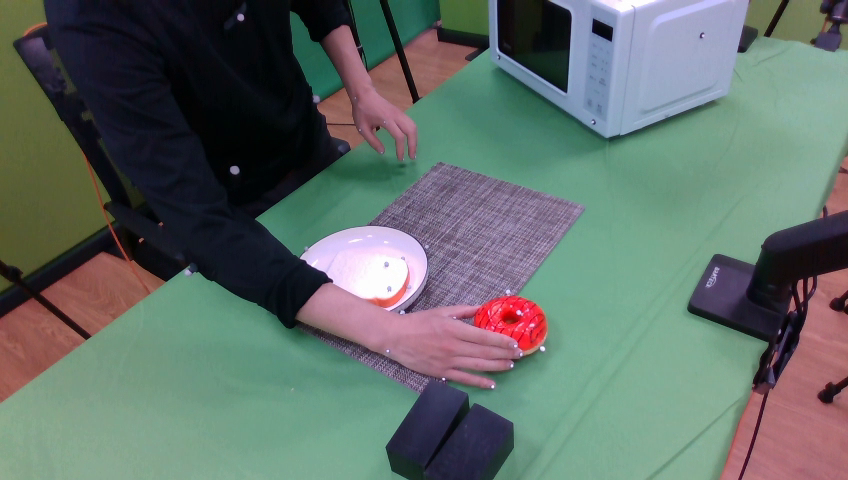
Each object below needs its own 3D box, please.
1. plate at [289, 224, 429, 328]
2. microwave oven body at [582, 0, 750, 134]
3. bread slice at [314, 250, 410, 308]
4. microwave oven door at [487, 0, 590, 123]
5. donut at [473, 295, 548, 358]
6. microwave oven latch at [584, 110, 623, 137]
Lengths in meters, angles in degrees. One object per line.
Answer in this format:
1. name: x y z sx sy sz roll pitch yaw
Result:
1. plate: -0.094 0.055 0.902 0.207 0.039 0.206 -4 41 4
2. microwave oven body: 0.382 -0.445 1.246 0.327 0.261 0.437 -22 42 -16
3. bread slice: -0.087 0.057 0.900 0.131 0.019 0.104 5 43 14
4. microwave oven door: 0.232 -0.420 1.231 0.039 0.245 0.352 -22 43 -16
5. donut: 0.115 0.113 0.803 0.099 0.048 0.098 1 38 0
6. microwave oven latch: 0.337 -0.222 1.142 0.030 0.029 0.078 -21 42 -14
